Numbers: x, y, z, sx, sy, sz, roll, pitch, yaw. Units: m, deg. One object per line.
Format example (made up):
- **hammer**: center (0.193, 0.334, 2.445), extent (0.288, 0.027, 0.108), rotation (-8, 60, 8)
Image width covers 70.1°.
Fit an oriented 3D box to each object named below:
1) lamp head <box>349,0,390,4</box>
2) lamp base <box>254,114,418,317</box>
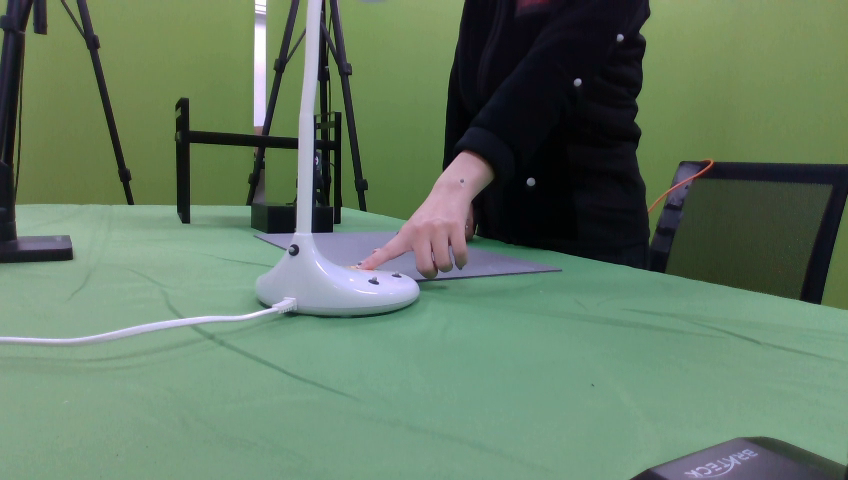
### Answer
- **lamp head**: center (-0.053, -0.312, 0.597), extent (0.112, 0.112, 0.123), rotation (6, -29, 25)
- **lamp base**: center (-0.086, -0.027, 0.576), extent (0.160, 0.180, 0.179), rotation (4, 10, 16)
